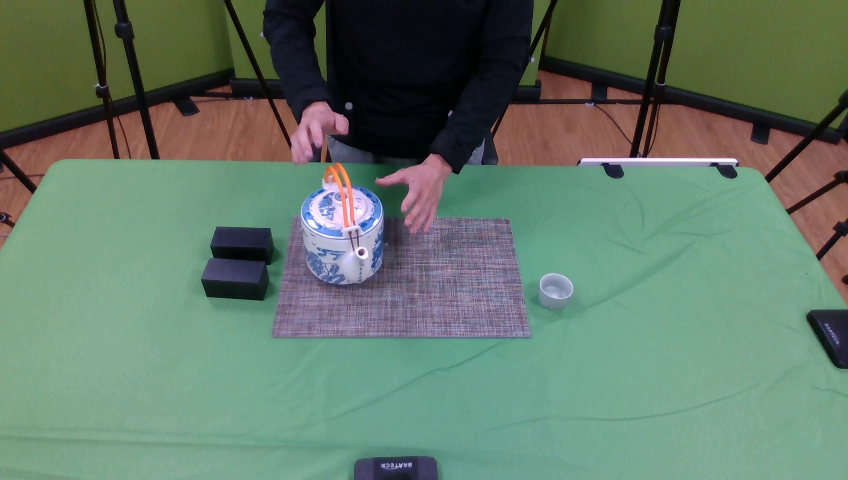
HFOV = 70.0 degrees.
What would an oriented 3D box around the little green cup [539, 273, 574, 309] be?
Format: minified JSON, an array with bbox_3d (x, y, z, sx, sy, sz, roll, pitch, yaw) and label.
[{"bbox_3d":[0.240,0.096,1.113,0.061,0.039,0.061,2,47,-2],"label":"little green cup"}]

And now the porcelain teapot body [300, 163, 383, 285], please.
[{"bbox_3d":[-0.134,-0.014,1.057,0.145,0.226,0.204,-16,50,-19],"label":"porcelain teapot body"}]

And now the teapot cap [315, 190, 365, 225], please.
[{"bbox_3d":[-0.145,-0.061,1.045,0.085,0.044,0.084,1,49,-1],"label":"teapot cap"}]
